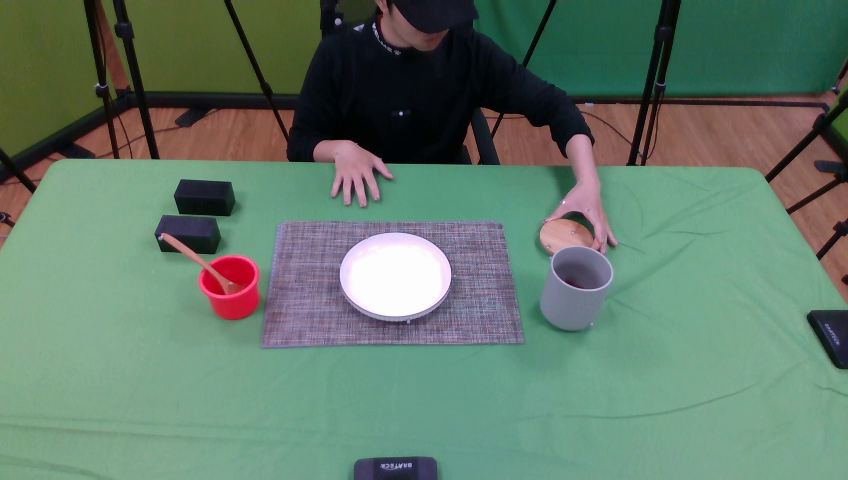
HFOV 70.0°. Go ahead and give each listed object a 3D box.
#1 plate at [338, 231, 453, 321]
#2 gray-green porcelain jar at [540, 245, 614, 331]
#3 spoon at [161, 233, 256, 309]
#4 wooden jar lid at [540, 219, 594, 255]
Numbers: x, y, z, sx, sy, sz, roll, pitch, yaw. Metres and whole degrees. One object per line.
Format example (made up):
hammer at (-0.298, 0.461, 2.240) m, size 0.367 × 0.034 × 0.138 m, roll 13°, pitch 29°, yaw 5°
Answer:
plate at (-0.051, 0.068, 1.111) m, size 0.208 × 0.039 × 0.206 m, roll 2°, pitch 46°, yaw -2°
gray-green porcelain jar at (0.262, 0.088, 1.058) m, size 0.106 × 0.127 × 0.105 m, roll 2°, pitch 46°, yaw -2°
spoon at (-0.366, 0.051, 1.036) m, size 0.194 × 0.021 × 0.041 m, roll 47°, pitch 45°, yaw -21°
wooden jar lid at (0.286, 0.001, 1.219) m, size 0.108 × 0.021 × 0.107 m, roll 2°, pitch 47°, yaw -1°
